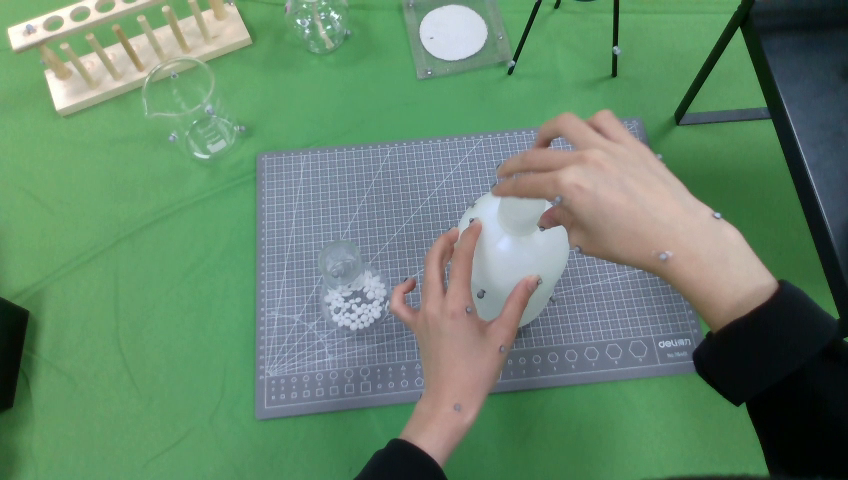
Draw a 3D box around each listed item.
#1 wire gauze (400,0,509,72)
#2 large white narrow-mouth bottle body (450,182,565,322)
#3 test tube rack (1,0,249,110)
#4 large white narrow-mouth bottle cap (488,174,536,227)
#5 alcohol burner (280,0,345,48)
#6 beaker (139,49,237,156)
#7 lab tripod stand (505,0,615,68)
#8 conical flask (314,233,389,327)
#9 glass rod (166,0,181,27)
[{"bbox_3d":[0.036,-0.272,0.762,0.121,0.011,0.124,-10,68,-5],"label":"wire gauze"},{"bbox_3d":[0.074,0.004,0.549,0.102,0.196,0.101,-1,68,3],"label":"large white narrow-mouth bottle body"},{"bbox_3d":[-0.342,-0.247,0.713,0.242,0.086,0.066,-25,70,-9],"label":"test tube rack"},{"bbox_3d":[0.068,-0.030,0.468,0.038,0.024,0.037,-1,68,3],"label":"large white narrow-mouth bottle cap"},{"bbox_3d":[-0.133,-0.286,0.713,0.078,0.120,0.077,0,66,0],"label":"alcohol burner"},{"bbox_3d":[-0.255,-0.143,0.664,0.073,0.101,0.084,39,74,16],"label":"beaker"},{"bbox_3d":[0.166,-0.269,0.693,0.148,0.132,0.147,1,67,-1],"label":"lab tripod stand"},{"bbox_3d":[-0.075,0.033,0.576,0.075,0.123,0.075,0,68,1],"label":"conical flask"},{"bbox_3d":[-0.299,-0.309,0.666,0.008,0.201,0.008,2,66,-3],"label":"glass rod"}]
